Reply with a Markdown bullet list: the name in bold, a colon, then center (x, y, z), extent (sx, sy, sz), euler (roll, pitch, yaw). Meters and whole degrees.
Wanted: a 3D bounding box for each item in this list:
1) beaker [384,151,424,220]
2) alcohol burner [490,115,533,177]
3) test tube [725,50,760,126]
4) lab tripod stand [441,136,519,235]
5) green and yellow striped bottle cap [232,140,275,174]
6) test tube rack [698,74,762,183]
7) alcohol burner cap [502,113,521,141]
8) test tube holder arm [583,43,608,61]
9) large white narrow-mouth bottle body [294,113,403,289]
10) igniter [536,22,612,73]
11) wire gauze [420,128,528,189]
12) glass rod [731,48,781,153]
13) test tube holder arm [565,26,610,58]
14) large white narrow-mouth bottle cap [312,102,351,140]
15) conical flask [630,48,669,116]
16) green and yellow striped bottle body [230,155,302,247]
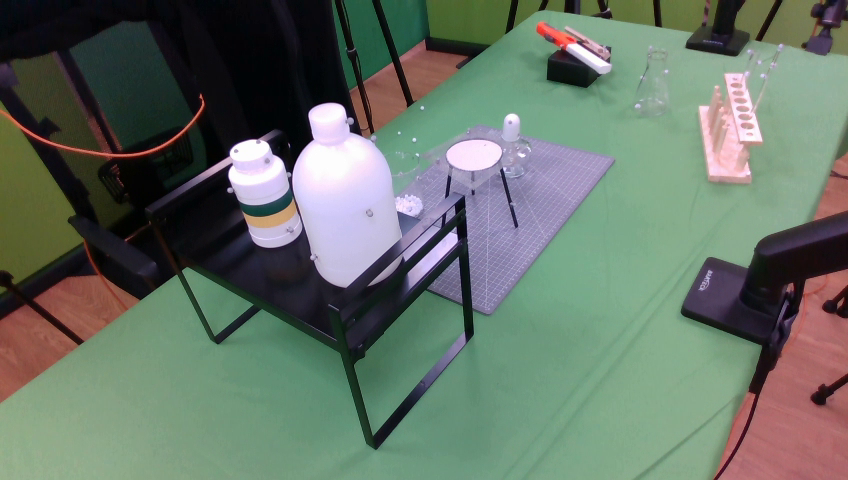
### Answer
- **beaker**: center (-0.038, -0.092, 1.026), extent (0.074, 0.101, 0.083), euler (2, 41, 10)
- **alcohol burner**: center (0.157, -0.173, 1.083), extent (0.078, 0.119, 0.077), euler (-4, 43, 4)
- **test tube**: center (0.570, -0.269, 1.086), extent (0.017, 0.151, 0.017), euler (-1, 45, 2)
- **lab tripod stand**: center (0.083, -0.086, 0.976), extent (0.148, 0.132, 0.147), euler (-4, 42, 4)
- **green and yellow striped bottle cap**: center (-0.192, -0.094, 0.680), extent (0.045, 0.020, 0.045), euler (-5, 39, 5)
- **test tube rack**: center (0.547, -0.208, 1.095), extent (0.066, 0.085, 0.242), euler (5, 42, 15)
- **alcohol burner cap**: center (0.155, -0.200, 1.058), extent (0.034, 0.048, 0.033), euler (-2, 50, 2)
- **test tube holder arm**: center (0.379, -0.420, 1.341), extent (0.010, 0.015, 0.087), euler (-39, 41, 10)
- **large white narrow-mouth bottle body**: center (-0.082, -0.047, 0.634), extent (0.102, 0.195, 0.101), euler (-4, 40, 3)
- **igniter**: center (0.330, -0.439, 1.366), extent (0.057, 0.025, 0.274), euler (-12, 41, -20)
- **wire gauze**: center (0.076, -0.132, 0.926), extent (0.122, 0.011, 0.124), euler (-34, 47, -26)
- **glass rod**: center (0.554, -0.228, 1.014), extent (0.008, 0.200, 0.008), euler (1, 44, -1)
- **test tube holder arm**: center (0.369, -0.451, 1.373), extent (0.013, 0.015, 0.177), euler (-39, 41, 10)
- **large white narrow-mouth bottle cap**: center (-0.089, -0.114, 0.579), extent (0.038, 0.024, 0.037), euler (-3, 40, 3)
- **conical flask**: center (0.456, -0.317, 1.205), extent (0.075, 0.122, 0.075), euler (-4, 41, 4)
- **green and yellow striped bottle body**: center (-0.188, -0.055, 0.714), extent (0.063, 0.120, 0.063), euler (-4, 41, 4)
